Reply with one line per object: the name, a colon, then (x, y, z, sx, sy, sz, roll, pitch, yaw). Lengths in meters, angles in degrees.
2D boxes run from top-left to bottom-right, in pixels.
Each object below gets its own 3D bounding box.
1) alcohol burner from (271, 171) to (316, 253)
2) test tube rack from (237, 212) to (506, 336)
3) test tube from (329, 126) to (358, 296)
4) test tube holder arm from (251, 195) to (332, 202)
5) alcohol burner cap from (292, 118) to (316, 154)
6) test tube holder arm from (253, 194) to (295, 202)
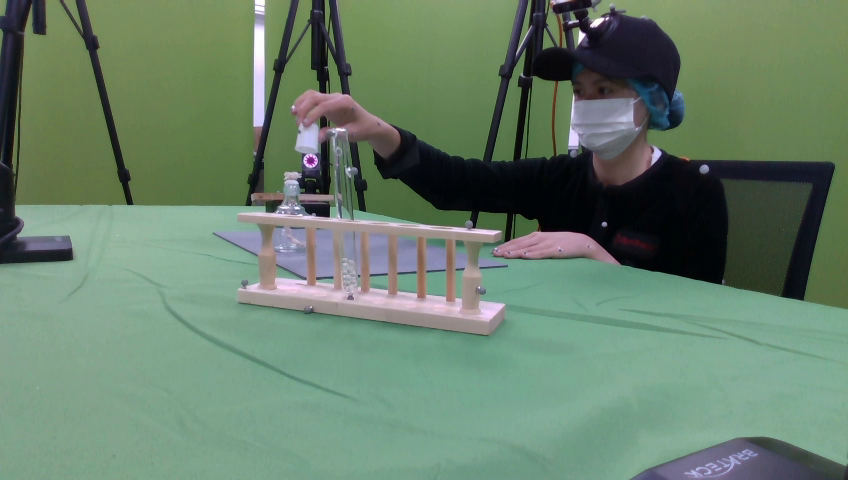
alcohol burner: (-0.196, -0.041, 0.884, 0.078, 0.119, 0.078, 3, 5, 0)
test tube rack: (-0.049, 0.024, 0.552, 0.242, 0.085, 0.067, 5, 8, 18)
test tube: (-0.071, -0.025, 0.535, 0.017, 0.150, 0.017, -3, 8, 1)
test tube holder arm: (-0.267, -0.085, 1.236, 0.179, 0.015, 0.013, -3, 3, -42)
alcohol burner cap: (-0.168, -0.149, 0.855, 0.034, 0.048, 0.034, 3, -12, 1)
test tube holder arm: (-0.297, -0.084, 1.201, 0.088, 0.015, 0.010, -3, 3, -41)
